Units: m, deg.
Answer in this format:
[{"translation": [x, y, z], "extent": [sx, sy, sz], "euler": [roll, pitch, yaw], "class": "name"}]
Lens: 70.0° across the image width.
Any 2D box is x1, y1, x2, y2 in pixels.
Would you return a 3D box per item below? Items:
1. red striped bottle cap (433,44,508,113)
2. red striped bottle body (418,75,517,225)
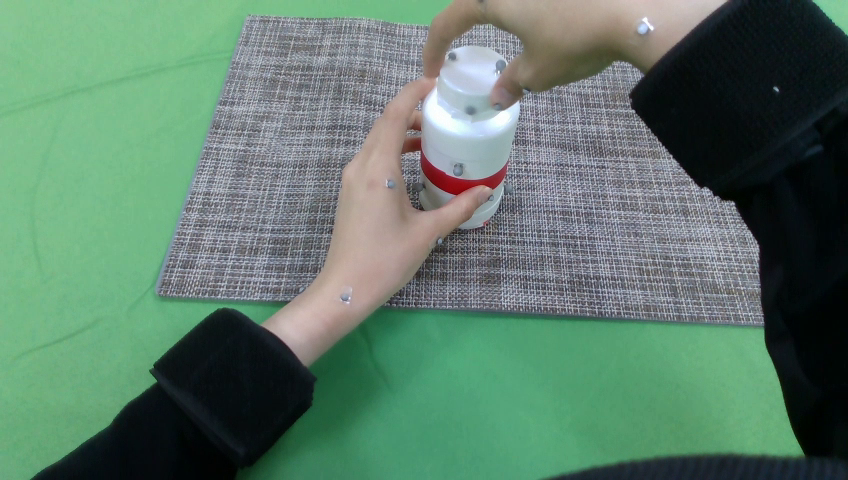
[{"translation": [0.028, -0.098, 0.365], "extent": [0.044, 0.018, 0.044], "euler": [3, 55, -4], "class": "red striped bottle cap"}, {"translation": [0.027, -0.068, 0.409], "extent": [0.063, 0.120, 0.062], "euler": [1, 57, -1], "class": "red striped bottle body"}]
